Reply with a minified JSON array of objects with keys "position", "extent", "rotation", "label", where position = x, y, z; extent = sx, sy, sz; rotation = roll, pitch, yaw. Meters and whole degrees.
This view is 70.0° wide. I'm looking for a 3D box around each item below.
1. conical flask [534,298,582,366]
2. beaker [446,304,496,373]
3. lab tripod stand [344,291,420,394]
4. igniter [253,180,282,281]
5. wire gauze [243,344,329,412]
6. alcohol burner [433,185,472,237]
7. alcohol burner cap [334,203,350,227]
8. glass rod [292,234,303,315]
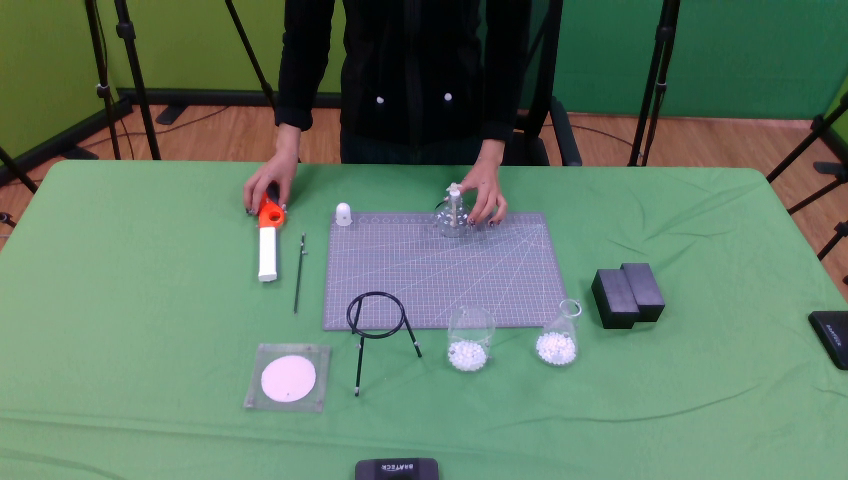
[{"position":[0.229,0.149,1.005],"extent":[0.075,0.122,0.075],"rotation":[2,46,-2],"label":"conical flask"},{"position":[0.072,0.166,0.992],"extent":[0.084,0.101,0.073],"rotation":[-21,51,-22],"label":"beaker"},{"position":[-0.075,0.155,0.967],"extent":[0.148,0.132,0.147],"rotation":[3,44,-3],"label":"lab tripod stand"},{"position":[-0.309,-0.027,1.198],"extent":[0.057,0.025,0.274],"rotation":[-4,45,-9],"label":"igniter"},{"position":[-0.221,0.219,0.981],"extent":[0.125,0.011,0.120],"rotation":[2,45,0],"label":"wire gauze"},{"position":[0.057,-0.062,1.198],"extent":[0.078,0.120,0.077],"rotation":[1,47,-1],"label":"alcohol burner"},{"position":[-0.166,-0.053,1.220],"extent":[0.034,0.048,0.033],"rotation":[2,46,-2],"label":"alcohol burner cap"},{"position":[-0.236,0.059,1.133],"extent":[0.008,0.008,0.198],"rotation":[-1,46,-4],"label":"glass rod"}]
